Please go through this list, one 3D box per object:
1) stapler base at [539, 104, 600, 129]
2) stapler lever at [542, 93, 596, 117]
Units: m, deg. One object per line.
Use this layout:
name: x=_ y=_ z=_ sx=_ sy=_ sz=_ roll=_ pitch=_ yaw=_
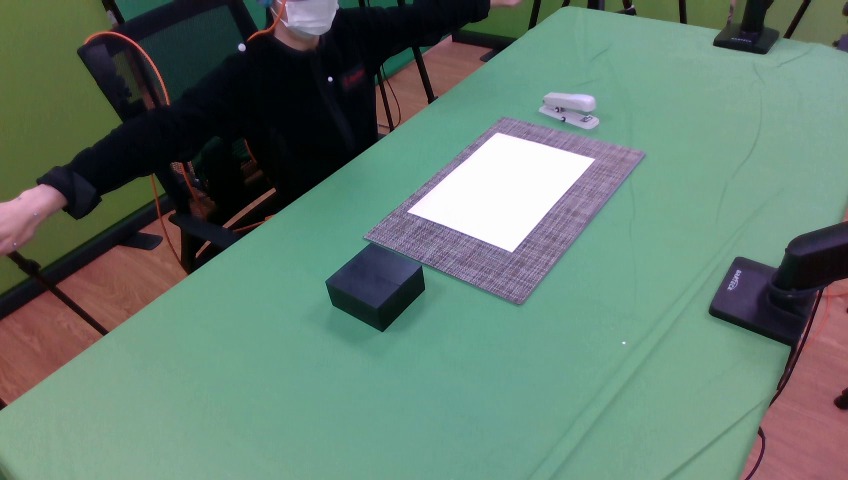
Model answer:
stapler base: x=0.297 y=-0.261 z=1.233 sx=0.041 sy=0.024 sz=0.129 roll=-34 pitch=45 yaw=-29
stapler lever: x=0.292 y=-0.280 z=1.218 sx=0.027 sy=0.040 sz=0.117 roll=-34 pitch=46 yaw=-29
